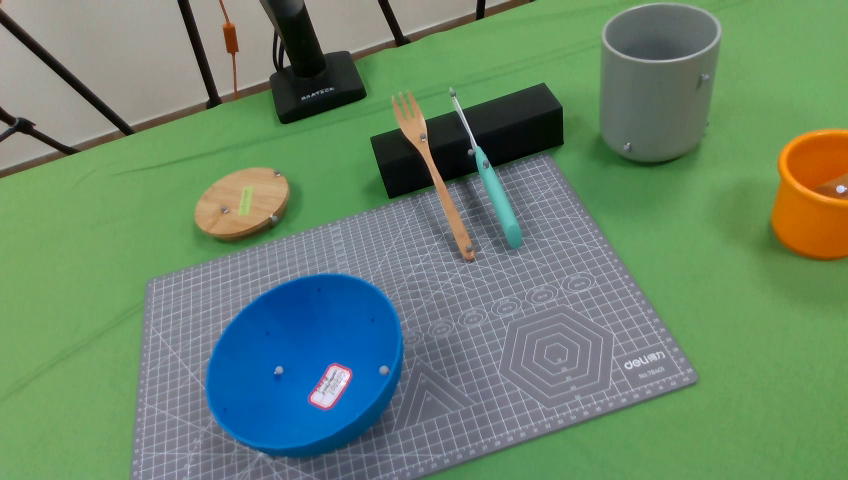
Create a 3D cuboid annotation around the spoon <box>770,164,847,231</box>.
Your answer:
[{"bbox_3d":[0.363,-0.072,0.476,0.022,0.194,0.041,19,40,-29],"label":"spoon"}]

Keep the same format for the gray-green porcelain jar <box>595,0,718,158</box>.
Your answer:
[{"bbox_3d":[0.224,-0.154,0.599,0.106,0.128,0.105,-7,47,8],"label":"gray-green porcelain jar"}]

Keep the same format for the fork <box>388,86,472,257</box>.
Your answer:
[{"bbox_3d":[0.006,-0.073,0.611,0.028,0.019,0.205,-18,65,-9],"label":"fork"}]

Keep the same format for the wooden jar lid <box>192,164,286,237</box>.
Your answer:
[{"bbox_3d":[-0.206,-0.044,0.685,0.108,0.021,0.107,-6,48,7],"label":"wooden jar lid"}]

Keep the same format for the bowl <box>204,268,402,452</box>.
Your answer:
[{"bbox_3d":[-0.083,0.104,0.476,0.151,0.077,0.150,-7,47,8],"label":"bowl"}]

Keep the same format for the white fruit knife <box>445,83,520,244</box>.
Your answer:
[{"bbox_3d":[0.053,-0.087,0.613,0.016,0.028,0.205,-18,61,-4],"label":"white fruit knife"}]
